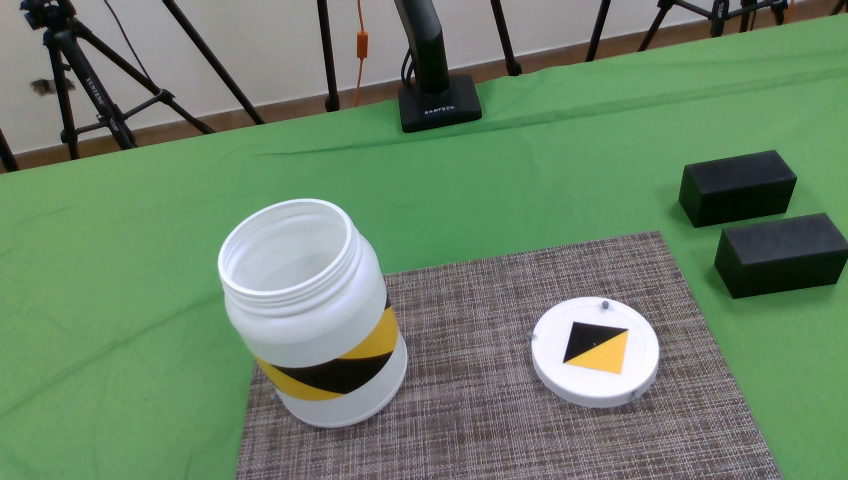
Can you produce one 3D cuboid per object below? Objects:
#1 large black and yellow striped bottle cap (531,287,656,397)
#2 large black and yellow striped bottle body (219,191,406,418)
[{"bbox_3d":[0.158,0.093,0.570,0.115,0.019,0.114,-6,46,7],"label":"large black and yellow striped bottle cap"},{"bbox_3d":[-0.094,0.059,0.540,0.130,0.186,0.129,-6,45,7],"label":"large black and yellow striped bottle body"}]
